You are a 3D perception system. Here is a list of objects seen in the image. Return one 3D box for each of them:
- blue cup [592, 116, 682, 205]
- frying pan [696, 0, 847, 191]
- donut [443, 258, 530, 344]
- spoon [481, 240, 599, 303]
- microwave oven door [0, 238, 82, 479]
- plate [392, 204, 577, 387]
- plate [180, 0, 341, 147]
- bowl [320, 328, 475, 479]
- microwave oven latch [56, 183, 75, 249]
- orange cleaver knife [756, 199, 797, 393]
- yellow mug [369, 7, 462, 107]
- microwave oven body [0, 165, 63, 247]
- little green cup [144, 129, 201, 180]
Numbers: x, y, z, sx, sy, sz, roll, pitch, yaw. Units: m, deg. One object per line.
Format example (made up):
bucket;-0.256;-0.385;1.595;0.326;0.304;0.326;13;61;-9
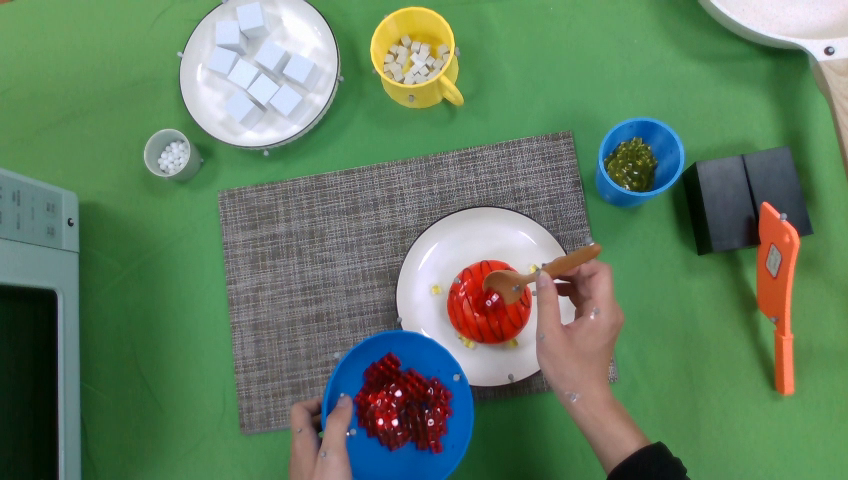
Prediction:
blue cup;0.227;-0.079;0.672;0.092;0.100;0.092;-1;80;6
frying pan;0.436;-0.253;0.669;0.306;0.103;0.485;-4;74;7
donut;0.071;0.069;0.688;0.099;0.048;0.099;-1;86;7
spoon;0.106;0.032;0.577;0.021;0.193;0.041;-39;92;-23
microwave oven door;-0.451;0.173;0.629;0.039;0.245;0.354;-6;82;6
plate;0.069;0.063;0.700;0.209;0.038;0.208;-1;83;7
plate;-0.205;-0.216;0.773;0.207;0.039;0.207;-1;82;7
bowl;-0.035;0.167;0.597;0.152;0.077;0.150;8;70;-22
microwave oven latch;-0.456;-0.029;0.758;0.030;0.029;0.079;-4;83;6
orange cleaver knife;0.373;0.062;0.646;0.012;0.076;0.212;-10;110;6
yellow mug;-0.001;-0.210;0.734;0.130;0.064;0.100;44;89;9
microwave oven body;-0.599;0.147;0.654;0.326;0.261;0.440;-6;82;5
little green cup;-0.317;-0.106;0.769;0.061;0.039;0.061;-1;83;5
